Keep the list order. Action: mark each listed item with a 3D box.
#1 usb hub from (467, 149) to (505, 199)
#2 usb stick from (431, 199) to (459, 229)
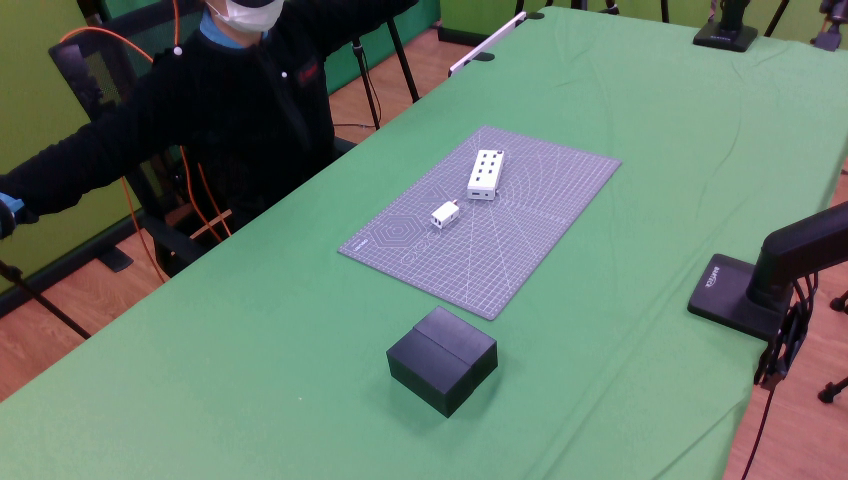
[{"bbox_3d":[0.112,-0.119,1.084,0.049,0.025,0.125,6,42,14],"label":"usb hub"},{"bbox_3d":[0.039,-0.046,1.009,0.027,0.021,0.059,34,56,24],"label":"usb stick"}]
